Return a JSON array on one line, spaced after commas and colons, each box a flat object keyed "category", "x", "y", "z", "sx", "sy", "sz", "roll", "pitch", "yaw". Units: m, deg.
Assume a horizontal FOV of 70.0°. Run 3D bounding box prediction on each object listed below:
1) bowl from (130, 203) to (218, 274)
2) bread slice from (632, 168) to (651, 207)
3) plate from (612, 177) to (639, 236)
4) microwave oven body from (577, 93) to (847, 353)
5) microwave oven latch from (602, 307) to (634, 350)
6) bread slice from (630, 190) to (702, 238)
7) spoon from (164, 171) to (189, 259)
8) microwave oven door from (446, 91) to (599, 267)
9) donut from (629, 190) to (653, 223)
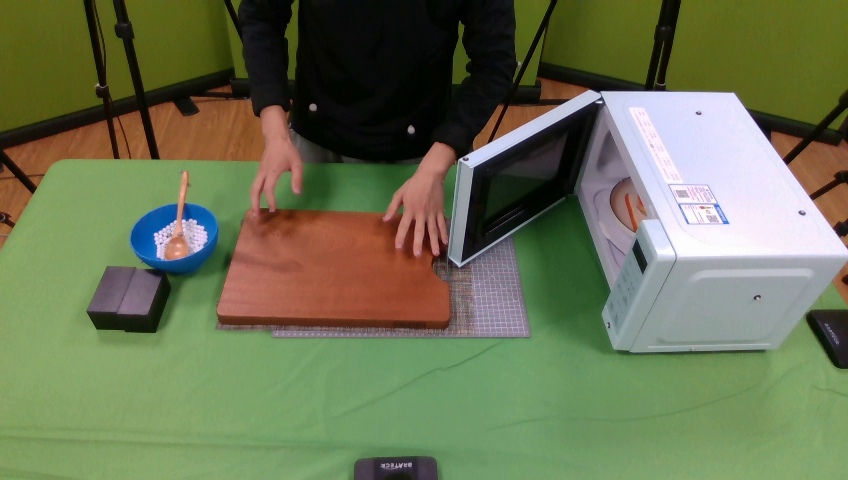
[{"category": "bowl", "x": -0.450, "y": 0.010, "z": 1.116, "sx": 0.151, "sy": 0.077, "sz": 0.150, "roll": 3, "pitch": 45, "yaw": -2}, {"category": "bread slice", "x": 0.462, "y": -0.089, "z": 1.137, "sx": 0.134, "sy": 0.018, "sz": 0.106, "roll": 7, "pitch": 43, "yaw": -13}, {"category": "plate", "x": 0.472, "y": -0.051, "z": 1.187, "sx": 0.208, "sy": 0.039, "sz": 0.206, "roll": -1, "pitch": 45, "yaw": 1}, {"category": "microwave oven body", "x": 0.475, "y": -0.041, "z": 1.109, "sx": 0.326, "sy": 0.261, "sz": 0.438, "roll": -1, "pitch": 45, "yaw": -4}, {"category": "microwave oven latch", "x": 0.332, "y": 0.153, "z": 1.044, "sx": 0.030, "sy": 0.029, "sz": 0.078, "roll": -1, "pitch": 45, "yaw": -4}, {"category": "bread slice", "x": 0.477, "y": -0.051, "z": 1.190, "sx": 0.131, "sy": 0.019, "sz": 0.104, "roll": 15, "pitch": 46, "yaw": 12}, {"category": "spoon", "x": -0.452, "y": -0.046, "z": 1.129, "sx": 0.041, "sy": 0.022, "sz": 0.193, "roll": -1, "pitch": 69, "yaw": -3}, {"category": "microwave oven door", "x": 0.191, "y": -0.120, "z": 1.157, "sx": 0.356, "sy": 0.245, "sz": 0.039, "roll": -31, "pitch": 55, "yaw": -30}, {"category": "donut", "x": 0.443, "y": -0.059, "z": 1.163, "sx": 0.099, "sy": 0.048, "sz": 0.098, "roll": 1, "pitch": 49, "yaw": -1}]
